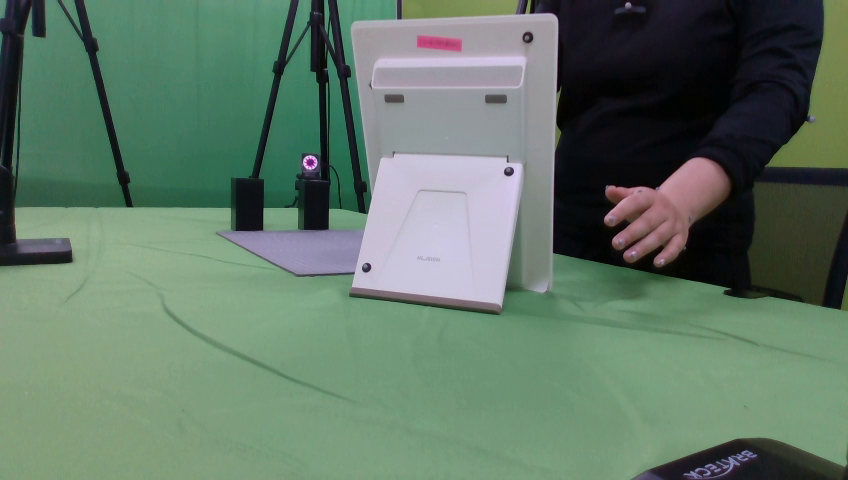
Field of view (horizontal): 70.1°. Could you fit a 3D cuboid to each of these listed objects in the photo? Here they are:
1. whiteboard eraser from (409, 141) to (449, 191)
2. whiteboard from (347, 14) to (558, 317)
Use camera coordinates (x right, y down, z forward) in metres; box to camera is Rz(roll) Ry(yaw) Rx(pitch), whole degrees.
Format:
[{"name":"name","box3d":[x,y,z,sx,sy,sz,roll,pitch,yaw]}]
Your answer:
[{"name":"whiteboard eraser","box3d":[0.007,-0.098,0.798,0.041,0.019,0.101,1,-25,12]},{"name":"whiteboard","box3d":[0.012,-0.056,0.609,0.216,0.305,0.144,5,27,20]}]
